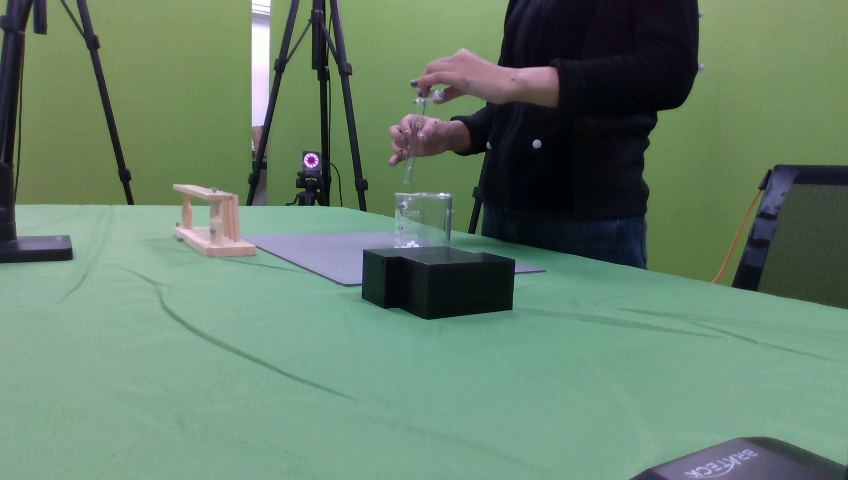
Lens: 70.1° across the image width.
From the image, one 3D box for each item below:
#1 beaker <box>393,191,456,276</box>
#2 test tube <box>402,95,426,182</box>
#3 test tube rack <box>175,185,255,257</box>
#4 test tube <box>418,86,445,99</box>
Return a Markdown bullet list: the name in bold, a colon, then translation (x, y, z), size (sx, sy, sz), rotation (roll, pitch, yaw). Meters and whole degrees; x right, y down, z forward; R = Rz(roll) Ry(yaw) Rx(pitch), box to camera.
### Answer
- **beaker**: translation (-0.003, -0.010, 0.749), size (0.074, 0.100, 0.083), rotation (-3, 8, -40)
- **test tube**: translation (-0.018, -0.166, 1.007), size (0.017, 0.150, 0.017), rotation (10, 25, -4)
- **test tube rack**: translation (-0.324, -0.035, 0.922), size (0.067, 0.085, 0.241), rotation (-2, 9, -32)
- **test tube**: translation (0.010, -0.221, 0.906), size (0.017, 0.017, 0.150), rotation (1, 12, -10)
